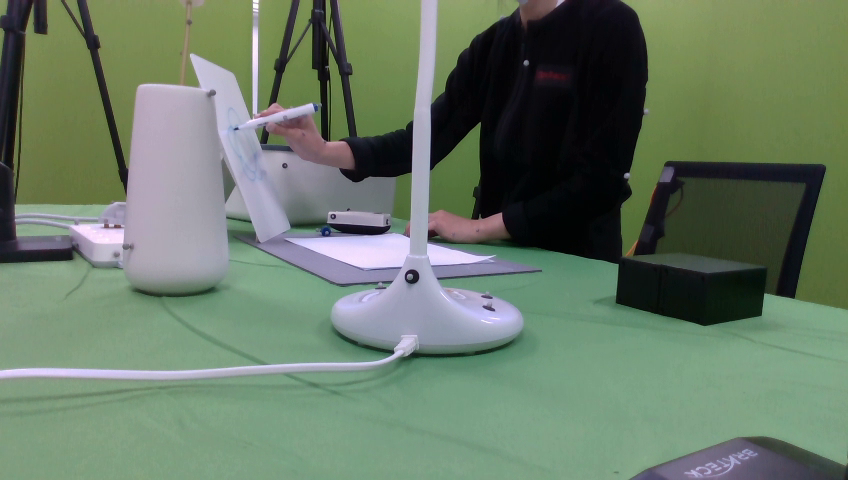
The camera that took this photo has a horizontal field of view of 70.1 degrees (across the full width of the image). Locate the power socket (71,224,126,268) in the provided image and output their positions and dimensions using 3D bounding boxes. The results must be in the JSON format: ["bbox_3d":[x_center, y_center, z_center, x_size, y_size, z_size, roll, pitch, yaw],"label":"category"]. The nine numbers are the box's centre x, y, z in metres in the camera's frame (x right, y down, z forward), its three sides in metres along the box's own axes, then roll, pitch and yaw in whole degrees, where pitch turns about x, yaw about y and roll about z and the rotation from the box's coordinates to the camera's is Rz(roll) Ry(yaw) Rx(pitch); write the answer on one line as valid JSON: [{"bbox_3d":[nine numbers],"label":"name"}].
[{"bbox_3d":[-0.409,0.004,0.793,0.072,0.032,0.225,-2,8,-37],"label":"power socket"}]

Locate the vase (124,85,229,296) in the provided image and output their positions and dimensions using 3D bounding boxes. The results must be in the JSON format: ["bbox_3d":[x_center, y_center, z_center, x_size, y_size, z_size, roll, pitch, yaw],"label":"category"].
[{"bbox_3d":[-0.244,-0.047,0.598,0.098,0.200,0.098,3,8,0],"label":"vase"}]

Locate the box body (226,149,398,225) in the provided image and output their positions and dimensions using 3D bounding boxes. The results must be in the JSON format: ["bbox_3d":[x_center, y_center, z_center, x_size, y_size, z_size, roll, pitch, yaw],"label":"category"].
[{"bbox_3d":[-0.265,-0.129,1.380,0.253,0.160,0.366,8,9,39],"label":"box body"}]

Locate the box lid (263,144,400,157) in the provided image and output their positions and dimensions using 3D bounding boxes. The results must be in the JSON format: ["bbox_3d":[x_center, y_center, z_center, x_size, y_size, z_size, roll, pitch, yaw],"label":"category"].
[{"bbox_3d":[-0.263,-0.203,1.369,0.262,0.015,0.373,9,10,39],"label":"box lid"}]

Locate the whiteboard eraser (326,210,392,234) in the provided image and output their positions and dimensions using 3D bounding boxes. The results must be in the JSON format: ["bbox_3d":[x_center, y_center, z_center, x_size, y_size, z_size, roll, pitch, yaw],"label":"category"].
[{"bbox_3d":[-0.121,-0.033,1.131,0.112,0.042,0.056,4,8,13],"label":"whiteboard eraser"}]

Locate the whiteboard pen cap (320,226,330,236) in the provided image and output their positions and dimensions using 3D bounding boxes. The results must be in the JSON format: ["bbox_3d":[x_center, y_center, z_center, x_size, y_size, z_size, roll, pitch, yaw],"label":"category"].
[{"bbox_3d":[-0.176,-0.016,1.075,0.018,0.018,0.033,1,5,-13],"label":"whiteboard pen cap"}]

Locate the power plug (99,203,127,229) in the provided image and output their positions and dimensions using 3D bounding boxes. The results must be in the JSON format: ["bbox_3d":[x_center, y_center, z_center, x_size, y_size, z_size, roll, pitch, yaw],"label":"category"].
[{"bbox_3d":[-0.415,-0.026,0.848,0.073,0.052,0.035,6,5,-28],"label":"power plug"}]

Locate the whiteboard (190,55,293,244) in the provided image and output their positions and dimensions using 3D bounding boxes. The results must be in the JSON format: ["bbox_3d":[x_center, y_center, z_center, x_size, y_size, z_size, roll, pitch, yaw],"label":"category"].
[{"bbox_3d":[-0.362,-0.129,1.029,0.144,0.305,0.217,-18,7,3],"label":"whiteboard"}]

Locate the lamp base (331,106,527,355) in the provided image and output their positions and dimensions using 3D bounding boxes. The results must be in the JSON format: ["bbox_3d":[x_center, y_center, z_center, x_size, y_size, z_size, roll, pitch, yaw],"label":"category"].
[{"bbox_3d":[0.006,-0.012,0.478,0.161,0.180,0.179,2,10,2],"label":"lamp base"}]

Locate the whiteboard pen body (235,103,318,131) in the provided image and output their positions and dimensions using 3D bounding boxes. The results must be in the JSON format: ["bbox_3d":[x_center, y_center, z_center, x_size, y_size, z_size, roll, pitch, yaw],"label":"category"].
[{"bbox_3d":[-0.244,-0.203,1.002,0.141,0.017,0.017,-18,11,-9],"label":"whiteboard pen body"}]

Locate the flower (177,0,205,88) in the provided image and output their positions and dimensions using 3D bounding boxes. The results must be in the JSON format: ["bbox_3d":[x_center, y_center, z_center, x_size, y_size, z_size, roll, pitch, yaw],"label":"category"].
[{"bbox_3d":[-0.243,-0.131,0.609,0.044,0.361,0.038,-5,-12,12],"label":"flower"}]
